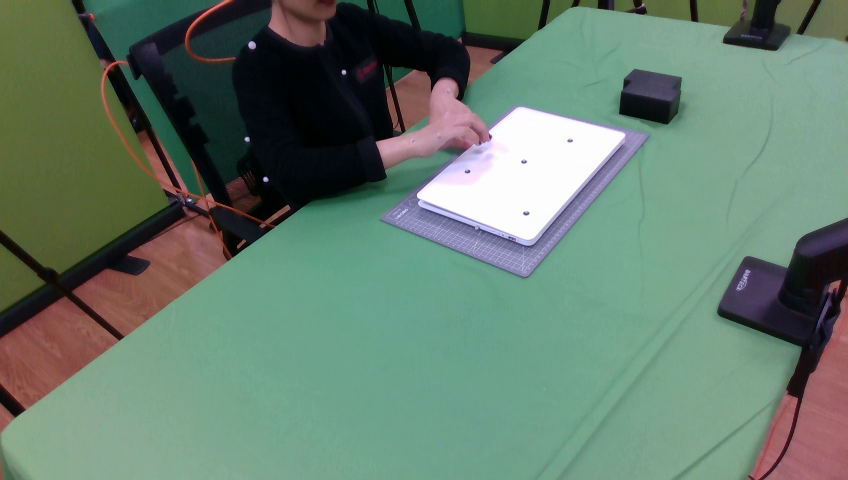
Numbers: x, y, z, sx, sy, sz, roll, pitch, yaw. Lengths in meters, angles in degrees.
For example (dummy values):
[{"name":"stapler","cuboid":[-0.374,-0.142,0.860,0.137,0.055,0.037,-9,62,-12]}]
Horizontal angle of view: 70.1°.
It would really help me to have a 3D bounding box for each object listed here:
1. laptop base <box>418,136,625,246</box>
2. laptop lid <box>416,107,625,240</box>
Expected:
[{"name":"laptop base","cuboid":[0.183,-0.122,1.094,0.233,0.023,0.355,20,48,34]},{"name":"laptop lid","cuboid":[0.179,-0.137,1.084,0.240,0.013,0.358,25,50,31]}]
